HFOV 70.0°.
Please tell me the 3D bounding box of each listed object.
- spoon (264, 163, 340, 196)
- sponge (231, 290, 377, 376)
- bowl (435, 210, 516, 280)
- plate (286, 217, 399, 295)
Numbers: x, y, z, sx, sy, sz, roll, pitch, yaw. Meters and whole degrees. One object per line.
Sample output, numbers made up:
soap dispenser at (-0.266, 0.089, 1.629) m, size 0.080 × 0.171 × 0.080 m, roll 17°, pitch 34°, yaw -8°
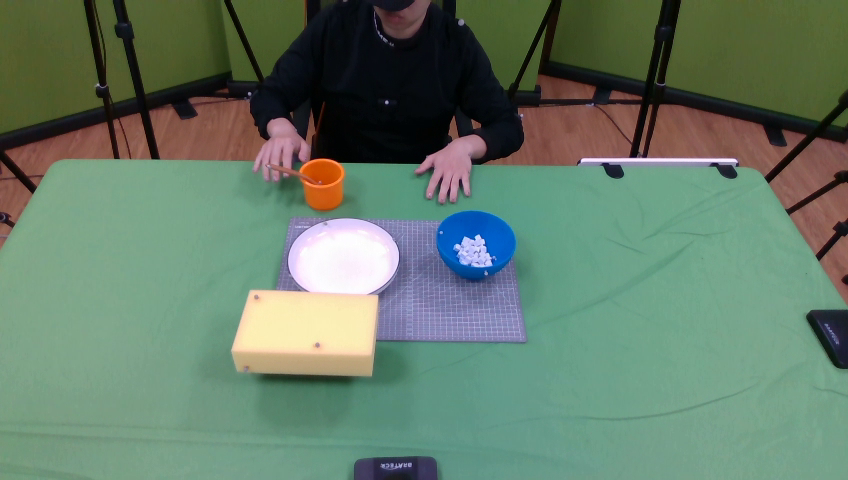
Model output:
spoon at (-0.241, -0.123, 1.211) m, size 0.021 × 0.195 × 0.041 m, roll -49°, pitch 54°, yaw 13°
sponge at (-0.180, 0.144, 0.949) m, size 0.207 × 0.061 × 0.117 m, roll 2°, pitch 46°, yaw -2°
bowl at (0.093, 0.022, 1.141) m, size 0.151 × 0.077 × 0.150 m, roll 2°, pitch 46°, yaw -2°
plate at (-0.150, 0.041, 1.131) m, size 0.209 × 0.038 × 0.208 m, roll 2°, pitch 45°, yaw -2°
